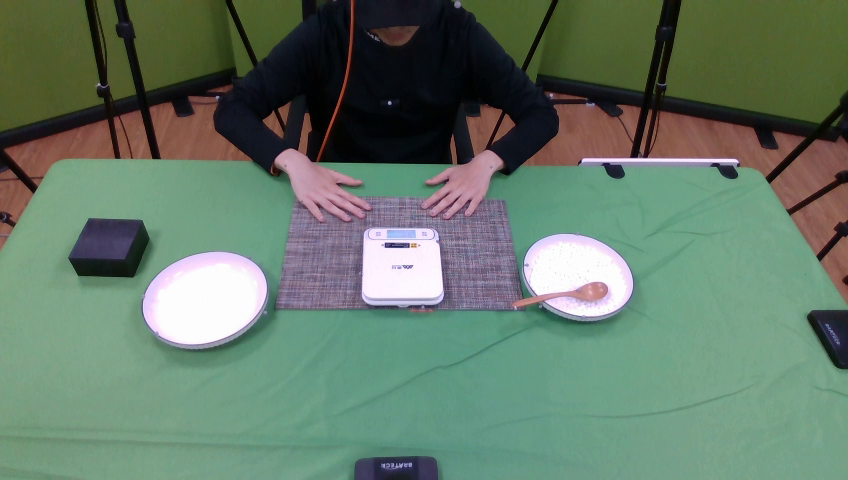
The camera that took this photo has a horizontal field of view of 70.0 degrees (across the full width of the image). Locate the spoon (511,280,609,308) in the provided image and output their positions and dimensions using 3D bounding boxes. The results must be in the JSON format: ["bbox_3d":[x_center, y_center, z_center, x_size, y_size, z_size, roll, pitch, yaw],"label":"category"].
[{"bbox_3d":[0.245,0.098,1.088,0.194,0.022,0.041,-5,47,-19],"label":"spoon"}]

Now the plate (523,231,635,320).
[{"bbox_3d":[0.287,0.069,1.141,0.209,0.038,0.208,2,46,-2],"label":"plate"}]

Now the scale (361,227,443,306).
[{"bbox_3d":[-0.042,0.040,1.143,0.149,0.032,0.199,0,46,-4],"label":"scale"}]

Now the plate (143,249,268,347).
[{"bbox_3d":[-0.378,0.103,1.060,0.208,0.039,0.206,2,47,-2],"label":"plate"}]
